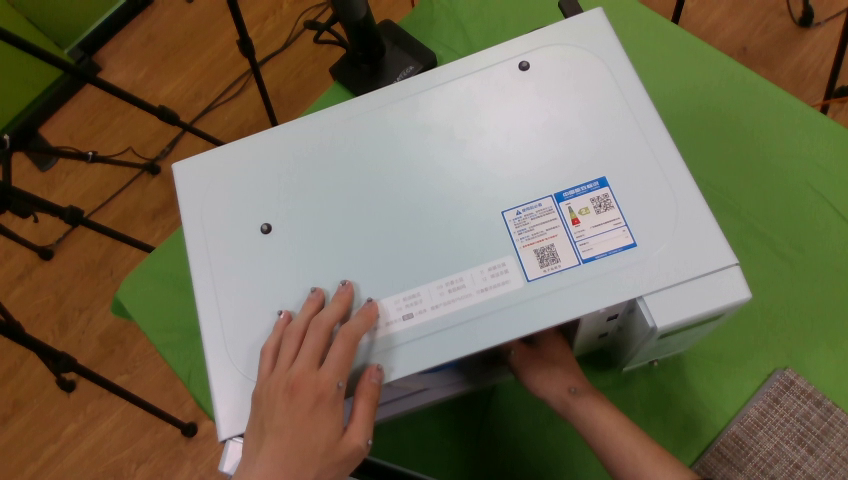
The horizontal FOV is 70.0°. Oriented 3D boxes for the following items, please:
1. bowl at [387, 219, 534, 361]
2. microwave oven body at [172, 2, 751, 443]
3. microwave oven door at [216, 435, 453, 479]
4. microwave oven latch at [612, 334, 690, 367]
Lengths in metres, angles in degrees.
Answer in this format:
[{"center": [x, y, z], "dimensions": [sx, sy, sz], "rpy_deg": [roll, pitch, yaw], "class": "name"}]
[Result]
[{"center": [0.035, 0.062, 0.649], "dimensions": [0.151, 0.077, 0.150], "rpy_deg": [1, 68, -3], "class": "bowl"}, {"center": [0.022, 0.012, 0.638], "dimensions": [0.442, 0.262, 0.323], "rpy_deg": [-20, 69, 3], "class": "microwave oven body"}, {"center": [0.023, 0.246, 0.548], "dimensions": [0.354, 0.245, 0.039], "rpy_deg": [13, 74, 14], "class": "microwave oven door"}, {"center": [0.249, 0.114, 0.666], "dimensions": [0.079, 0.030, 0.030], "rpy_deg": [-18, 69, 4], "class": "microwave oven latch"}]
